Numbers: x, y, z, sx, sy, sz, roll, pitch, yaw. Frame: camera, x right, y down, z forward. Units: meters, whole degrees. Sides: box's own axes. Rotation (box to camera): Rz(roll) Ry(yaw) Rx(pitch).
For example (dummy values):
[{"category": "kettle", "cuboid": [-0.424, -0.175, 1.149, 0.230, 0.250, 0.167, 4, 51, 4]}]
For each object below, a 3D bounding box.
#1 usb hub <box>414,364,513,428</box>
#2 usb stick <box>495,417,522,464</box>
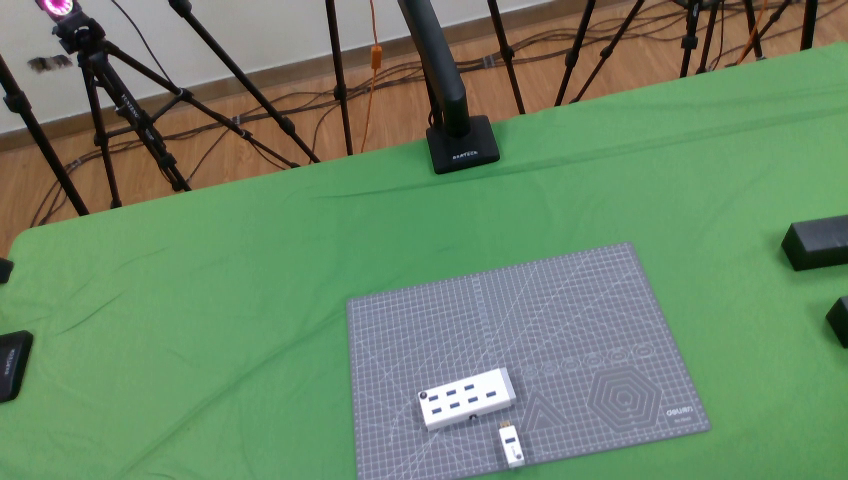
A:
[{"category": "usb hub", "cuboid": [0.053, 0.208, 0.811, 0.125, 0.025, 0.049, -17, 53, -1]}, {"category": "usb stick", "cuboid": [0.105, 0.251, 0.769, 0.021, 0.027, 0.058, -18, 50, 3]}]
